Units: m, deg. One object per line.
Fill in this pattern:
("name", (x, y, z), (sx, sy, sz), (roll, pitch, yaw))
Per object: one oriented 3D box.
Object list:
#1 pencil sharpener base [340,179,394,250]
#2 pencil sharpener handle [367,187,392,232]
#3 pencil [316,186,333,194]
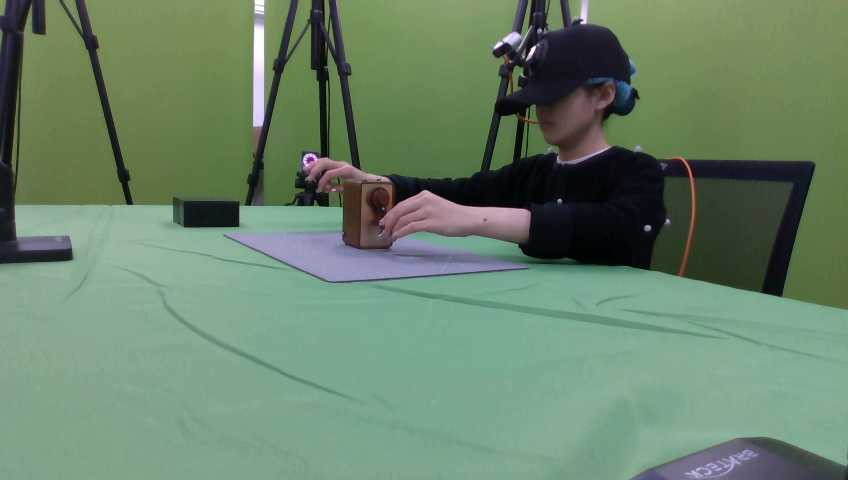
("pencil sharpener base", (-0.091, -0.041, 0.959), (0.061, 0.107, 0.076), (-1, 9, -30))
("pencil sharpener handle", (-0.062, -0.046, 0.915), (0.036, 0.068, 0.030), (-12, 14, -28))
("pencil", (-0.184, -0.092, 1.123), (0.012, 0.012, 0.193), (1, 7, -17))
